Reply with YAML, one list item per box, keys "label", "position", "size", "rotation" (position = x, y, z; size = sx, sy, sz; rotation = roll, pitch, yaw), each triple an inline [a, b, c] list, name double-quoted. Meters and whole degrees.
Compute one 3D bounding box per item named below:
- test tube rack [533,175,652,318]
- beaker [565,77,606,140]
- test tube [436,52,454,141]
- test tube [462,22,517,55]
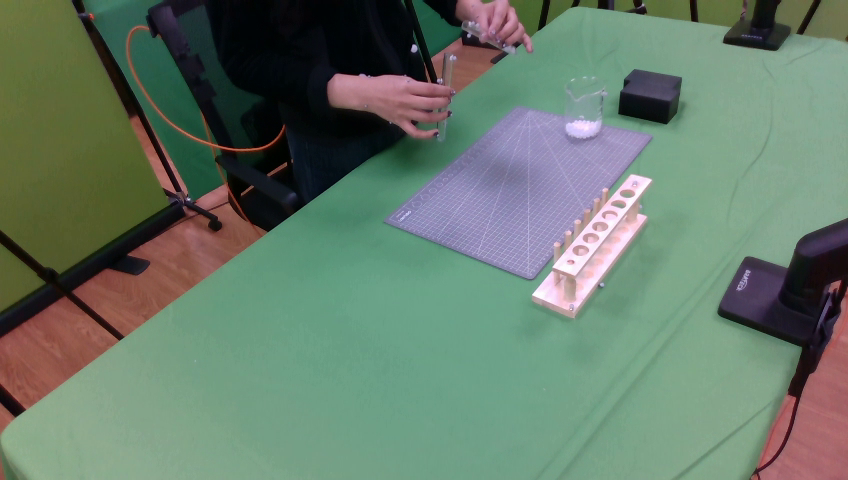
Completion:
- label: "test tube rack"
  position: [0.250, -0.001, 0.889]
  size: [0.066, 0.085, 0.243]
  rotation: [22, 49, 33]
- label: "beaker"
  position: [0.304, -0.247, 1.153]
  size: [0.073, 0.101, 0.084]
  rotation: [15, 47, 27]
- label: "test tube"
  position: [0.034, -0.235, 1.002]
  size: [0.017, 0.151, 0.017]
  rotation: [4, 31, -2]
- label: "test tube"
  position: [0.114, -0.341, 1.029]
  size: [0.017, 0.017, 0.151]
  rotation: [30, 17, 37]
